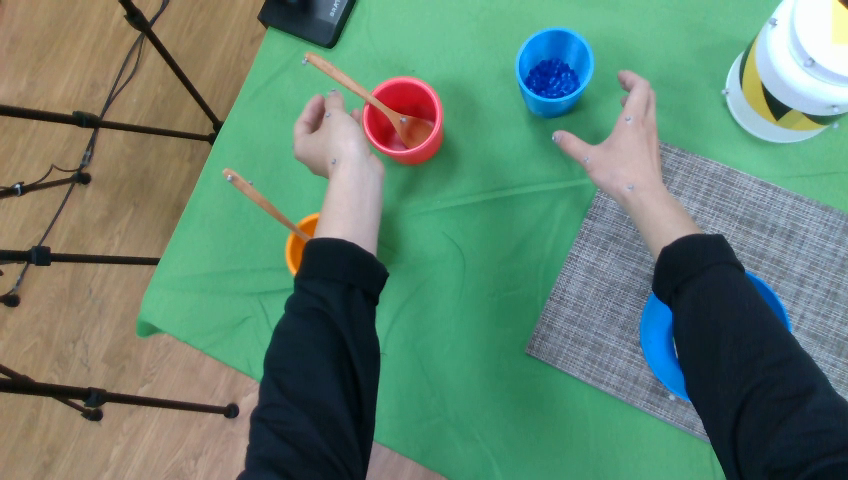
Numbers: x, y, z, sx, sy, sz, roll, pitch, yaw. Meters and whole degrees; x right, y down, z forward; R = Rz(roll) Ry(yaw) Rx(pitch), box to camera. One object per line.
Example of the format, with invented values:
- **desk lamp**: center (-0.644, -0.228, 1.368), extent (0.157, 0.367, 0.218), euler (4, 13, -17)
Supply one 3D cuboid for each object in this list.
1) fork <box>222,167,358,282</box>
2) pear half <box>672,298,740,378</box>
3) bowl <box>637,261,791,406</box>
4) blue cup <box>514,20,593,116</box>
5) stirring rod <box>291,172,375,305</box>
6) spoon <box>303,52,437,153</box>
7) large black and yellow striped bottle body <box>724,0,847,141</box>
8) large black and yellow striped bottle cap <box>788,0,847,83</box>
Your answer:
- **fork**: center (-0.155, -0.016, 0.717), extent (0.028, 0.018, 0.209), euler (-39, 123, 11)
- **pear half**: center (0.309, 0.105, 0.657), extent (0.070, 0.031, 0.087), euler (5, 80, 4)
- **bowl**: center (0.306, 0.101, 0.665), extent (0.151, 0.077, 0.151), euler (-1, 83, 9)
- **blue cup**: center (0.150, -0.190, 0.714), extent (0.092, 0.100, 0.092), euler (-1, 85, 9)
- **stirring rod**: center (-0.106, -0.002, 0.706), extent (0.014, 0.006, 0.176), euler (30, 89, 9)
- **spoon**: center (-0.060, -0.165, 0.724), extent (0.195, 0.021, 0.041), euler (32, 90, -32)
- **large black and yellow striped bottle body**: center (0.408, -0.190, 0.632), extent (0.130, 0.185, 0.130), euler (-1, 83, 9)
- **large black and yellow striped bottle cap**: center (0.396, -0.200, 0.550), extent (0.115, 0.019, 0.114), euler (-1, 83, 10)
